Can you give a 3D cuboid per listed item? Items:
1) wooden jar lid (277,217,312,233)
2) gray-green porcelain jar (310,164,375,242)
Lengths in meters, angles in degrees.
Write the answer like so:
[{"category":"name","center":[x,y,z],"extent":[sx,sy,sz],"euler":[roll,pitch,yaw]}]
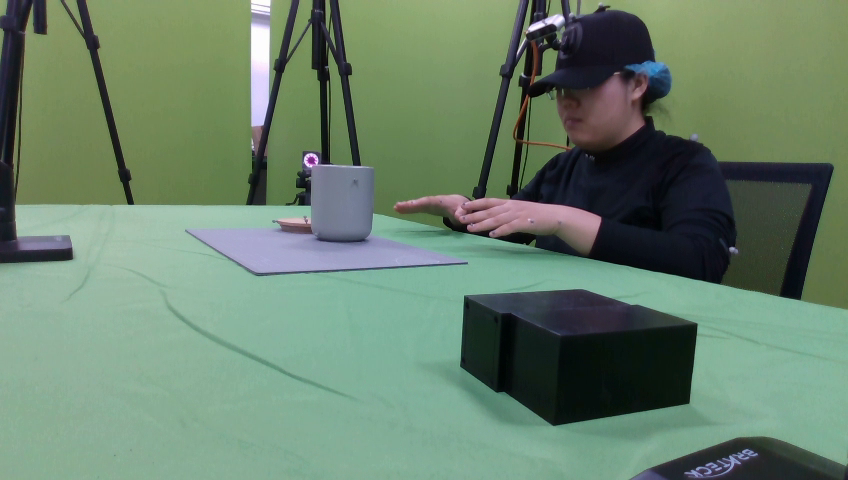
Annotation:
[{"category":"wooden jar lid","center":[-0.221,-0.028,1.138],"extent":[0.108,0.020,0.108],"euler":[2,9,0]},{"category":"gray-green porcelain jar","center":[-0.139,-0.064,1.025],"extent":[0.106,0.126,0.106],"euler":[3,8,0]}]
